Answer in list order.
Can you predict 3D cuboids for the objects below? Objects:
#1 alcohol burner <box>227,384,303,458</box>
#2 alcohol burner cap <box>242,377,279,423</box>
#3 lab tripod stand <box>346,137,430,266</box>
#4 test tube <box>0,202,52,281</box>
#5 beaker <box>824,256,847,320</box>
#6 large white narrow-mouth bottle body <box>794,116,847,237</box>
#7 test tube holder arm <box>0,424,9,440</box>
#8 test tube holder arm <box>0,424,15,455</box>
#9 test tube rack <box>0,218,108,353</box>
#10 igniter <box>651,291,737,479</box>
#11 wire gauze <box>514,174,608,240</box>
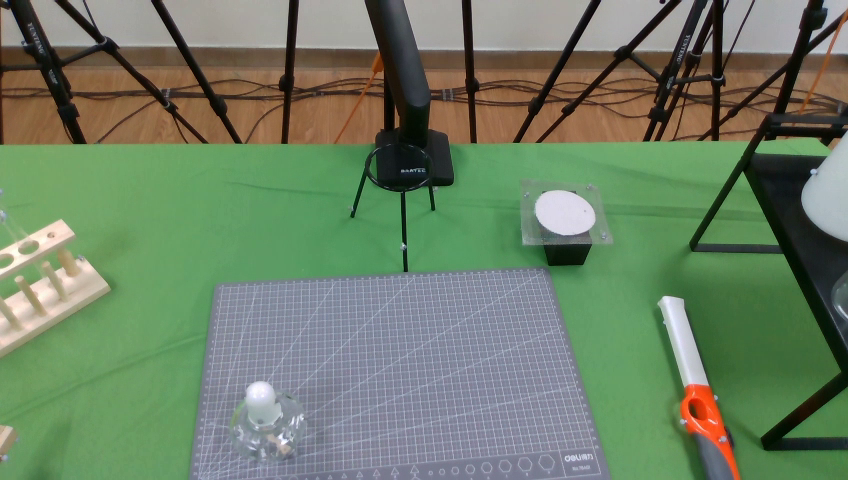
[{"bbox_3d":[-0.166,0.178,0.627,0.078,0.120,0.077,4,49,-4],"label":"alcohol burner"},{"bbox_3d":[-0.163,0.156,0.598,0.034,0.048,0.033,1,46,-1],"label":"alcohol burner cap"},{"bbox_3d":[-0.040,-0.059,0.824,0.148,0.132,0.147,4,51,-4],"label":"lab tripod stand"},{"bbox_3d":[-0.471,-0.001,0.703,0.017,0.151,0.017,1,49,0],"label":"test tube"},{"bbox_3d":[0.444,0.031,0.582,0.084,0.101,0.073,14,51,7],"label":"beaker"},{"bbox_3d":[0.483,-0.097,0.628,0.102,0.196,0.101,3,51,-3],"label":"large white narrow-mouth bottle body"},{"bbox_3d":[-0.427,0.218,0.575,0.010,0.015,0.087,3,50,8],"label":"test tube holder arm"},{"bbox_3d":[-0.428,0.253,0.546,0.013,0.015,0.177,4,50,8],"label":"test tube holder arm"},{"bbox_3d":[-0.509,0.081,0.697,0.066,0.086,0.242,38,57,23],"label":"test tube rack"},{"bbox_3d":[0.323,0.179,0.730,0.057,0.025,0.273,9,50,-11],"label":"igniter"},{"bbox_3d":[0.189,-0.046,0.851,0.121,0.011,0.124,3,50,-2],"label":"wire gauze"}]
